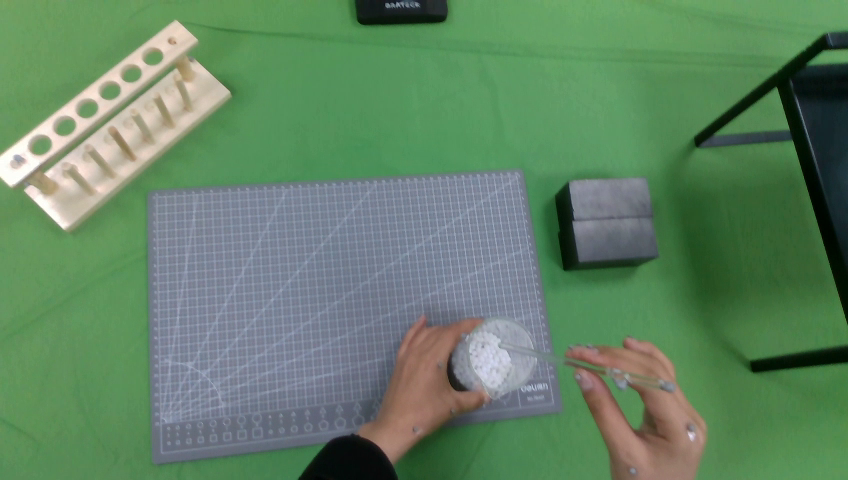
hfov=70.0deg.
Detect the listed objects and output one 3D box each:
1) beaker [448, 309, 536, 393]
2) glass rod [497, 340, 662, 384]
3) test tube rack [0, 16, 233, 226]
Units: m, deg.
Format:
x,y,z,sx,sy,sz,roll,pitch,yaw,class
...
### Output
x,y,z,sx,sy,sz,roll,pitch,yaw,class
0.068,0.124,0.649,0.074,0.100,0.083,13,73,-5,beaker
0.101,0.087,0.444,0.008,0.199,0.008,1,87,-21,glass rod
-0.333,-0.130,0.669,0.066,0.085,0.242,43,74,5,test tube rack
